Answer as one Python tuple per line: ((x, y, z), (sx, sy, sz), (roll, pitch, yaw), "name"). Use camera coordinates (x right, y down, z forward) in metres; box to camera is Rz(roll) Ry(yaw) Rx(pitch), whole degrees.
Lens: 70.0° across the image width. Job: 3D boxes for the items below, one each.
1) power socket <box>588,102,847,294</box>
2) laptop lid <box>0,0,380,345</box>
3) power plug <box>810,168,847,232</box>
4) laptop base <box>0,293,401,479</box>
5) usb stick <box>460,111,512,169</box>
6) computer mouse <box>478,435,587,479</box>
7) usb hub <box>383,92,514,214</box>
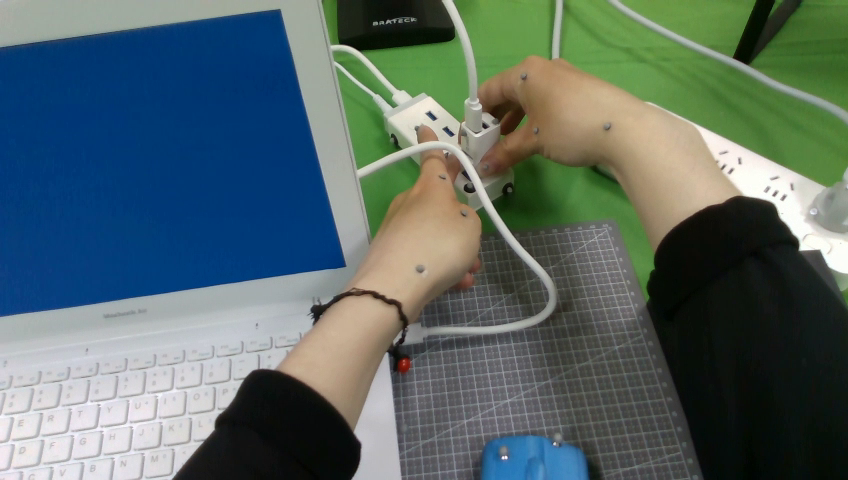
((0.239, -0.039, 0.475), (0.225, 0.033, 0.072), (36, 63, 25), "power socket")
((-0.216, -0.025, 0.358), (0.357, 0.244, 0.013), (-9, 41, -1), "laptop lid")
((0.312, -0.032, 0.437), (0.072, 0.053, 0.035), (-34, 58, -17), "power plug")
((-0.189, 0.159, 0.370), (0.354, 0.023, 0.233), (-8, 58, -2), "laptop base")
((0.052, -0.075, 0.478), (0.027, 0.059, 0.021), (-47, 62, 2), "usb stick")
((0.059, 0.164, 0.335), (0.062, 0.041, 0.116), (3, 50, 9), "computer mouse")
((0.018, -0.078, 0.520), (0.049, 0.025, 0.124), (-32, 58, -18), "usb hub")
